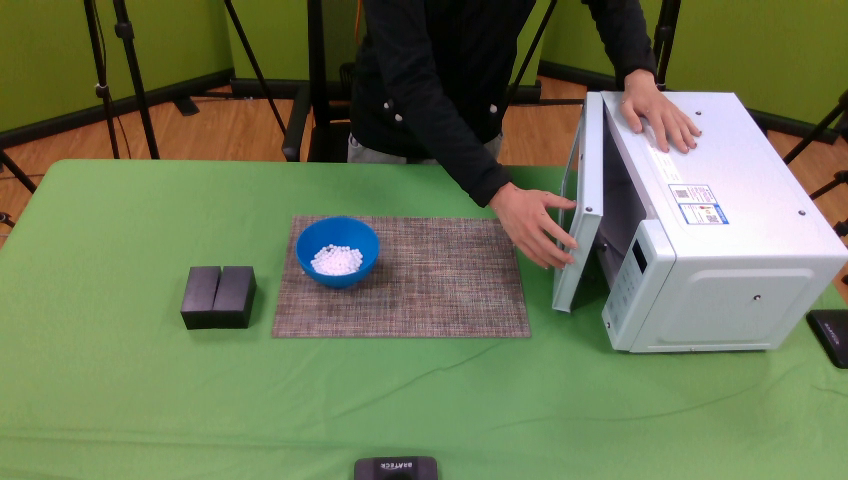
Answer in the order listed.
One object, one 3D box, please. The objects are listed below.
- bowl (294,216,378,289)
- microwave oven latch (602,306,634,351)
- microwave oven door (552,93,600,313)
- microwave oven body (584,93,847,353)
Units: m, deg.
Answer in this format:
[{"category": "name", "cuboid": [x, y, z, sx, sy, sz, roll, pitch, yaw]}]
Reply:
[{"category": "bowl", "cuboid": [-0.158, 0.036, 1.110, 0.151, 0.077, 0.150, 3, 45, -2]}, {"category": "microwave oven latch", "cuboid": [0.332, 0.153, 1.044, 0.030, 0.029, 0.078, 0, 45, -4]}, {"category": "microwave oven door", "cuboid": [0.285, -0.078, 1.124, 0.039, 0.245, 0.354, 10, 46, 5]}, {"category": "microwave oven body", "cuboid": [0.475, -0.041, 1.109, 0.326, 0.261, 0.438, -1, 45, -4]}]
